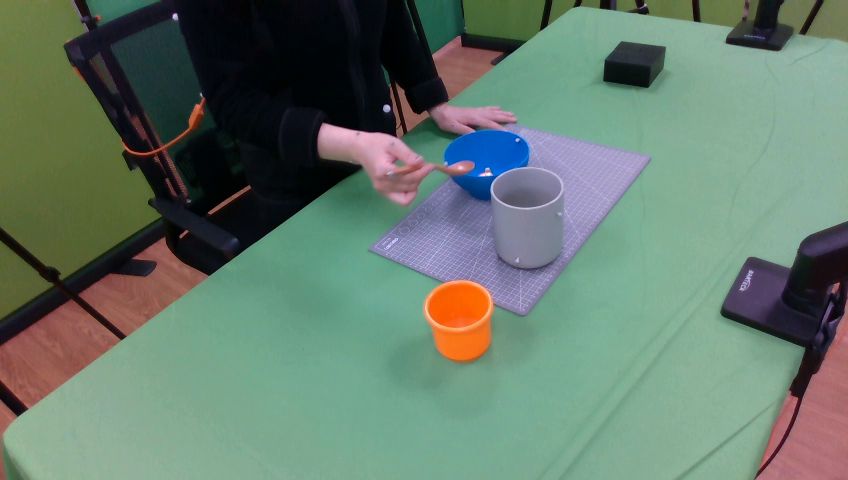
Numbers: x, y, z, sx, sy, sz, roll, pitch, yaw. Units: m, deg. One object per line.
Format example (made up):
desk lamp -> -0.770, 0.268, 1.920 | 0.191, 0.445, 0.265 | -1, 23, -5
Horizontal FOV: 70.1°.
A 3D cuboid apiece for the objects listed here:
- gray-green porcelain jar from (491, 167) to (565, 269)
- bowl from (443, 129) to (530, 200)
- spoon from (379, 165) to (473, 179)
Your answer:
gray-green porcelain jar -> 0.157, -0.029, 0.904 | 0.106, 0.127, 0.105 | -6, 40, 5
bowl -> 0.113, -0.123, 1.063 | 0.151, 0.077, 0.150 | -6, 40, 5
spoon -> 0.005, -0.097, 0.852 | 0.041, 0.021, 0.195 | 19, 16, 37
